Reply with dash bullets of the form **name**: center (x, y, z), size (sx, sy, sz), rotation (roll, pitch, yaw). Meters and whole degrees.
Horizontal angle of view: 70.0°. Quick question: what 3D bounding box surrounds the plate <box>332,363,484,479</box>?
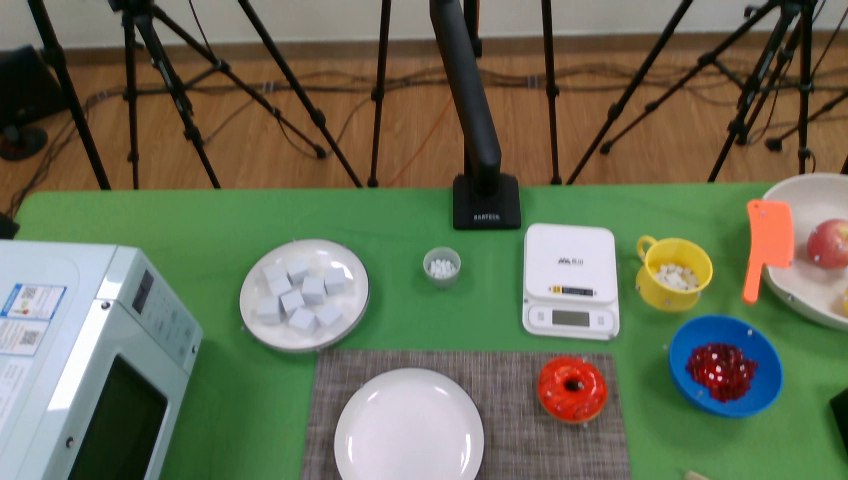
- **plate**: center (-0.021, 0.274, 0.840), size (0.209, 0.038, 0.207), rotation (-1, 57, 3)

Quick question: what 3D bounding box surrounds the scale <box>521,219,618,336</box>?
- **scale**: center (0.234, 0.056, 0.981), size (0.148, 0.032, 0.199), rotation (4, 57, 6)

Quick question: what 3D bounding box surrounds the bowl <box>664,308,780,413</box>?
- **bowl**: center (0.411, 0.181, 0.861), size (0.151, 0.077, 0.150), rotation (-1, 57, 2)

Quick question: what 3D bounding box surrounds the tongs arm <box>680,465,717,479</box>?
- **tongs arm**: center (0.508, 0.387, 0.747), size (0.385, 0.028, 0.028), rotation (26, 54, 19)

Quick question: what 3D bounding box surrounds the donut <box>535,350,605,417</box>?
- **donut**: center (0.208, 0.206, 0.870), size (0.099, 0.049, 0.098), rotation (-2, 57, 4)

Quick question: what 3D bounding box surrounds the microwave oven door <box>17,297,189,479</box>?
- **microwave oven door**: center (-0.386, 0.278, 0.714), size (0.039, 0.246, 0.352), rotation (2, 56, 4)

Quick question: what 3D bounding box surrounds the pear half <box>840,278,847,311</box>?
- **pear half**: center (0.664, 0.078, 0.893), size (0.076, 0.111, 0.056), rotation (32, 63, 26)

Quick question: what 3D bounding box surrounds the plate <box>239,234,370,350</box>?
- **plate**: center (-0.189, 0.085, 0.979), size (0.207, 0.039, 0.205), rotation (-1, 56, 2)

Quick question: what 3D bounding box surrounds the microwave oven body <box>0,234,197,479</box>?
- **microwave oven body**: center (-0.527, 0.240, 0.753), size (0.326, 0.262, 0.437), rotation (3, 57, 4)

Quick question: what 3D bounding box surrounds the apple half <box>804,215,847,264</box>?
- **apple half**: center (0.628, 0.003, 0.964), size (0.033, 0.082, 0.080), rotation (-6, 56, -5)

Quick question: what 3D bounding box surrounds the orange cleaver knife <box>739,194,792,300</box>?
- **orange cleaver knife**: center (0.526, 0.007, 0.934), size (0.077, 0.012, 0.210), rotation (16, 59, 14)

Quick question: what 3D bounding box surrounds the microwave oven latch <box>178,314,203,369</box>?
- **microwave oven latch**: center (-0.360, 0.153, 0.919), size (0.030, 0.030, 0.078), rotation (4, 57, 5)

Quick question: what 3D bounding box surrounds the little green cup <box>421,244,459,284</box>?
- **little green cup**: center (0.027, 0.041, 0.997), size (0.061, 0.039, 0.061), rotation (-2, 56, 3)

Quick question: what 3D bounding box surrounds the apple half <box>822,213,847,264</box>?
- **apple half**: center (0.666, -0.002, 0.967), size (0.053, 0.075, 0.080), rotation (-6, 52, -5)

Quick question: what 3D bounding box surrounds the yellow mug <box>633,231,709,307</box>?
- **yellow mug**: center (0.381, 0.037, 0.966), size (0.100, 0.064, 0.129), rotation (-27, 58, -14)

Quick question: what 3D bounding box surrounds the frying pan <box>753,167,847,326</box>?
- **frying pan**: center (0.702, 0.082, 0.897), size (0.307, 0.104, 0.482), rotation (-23, 50, -11)
